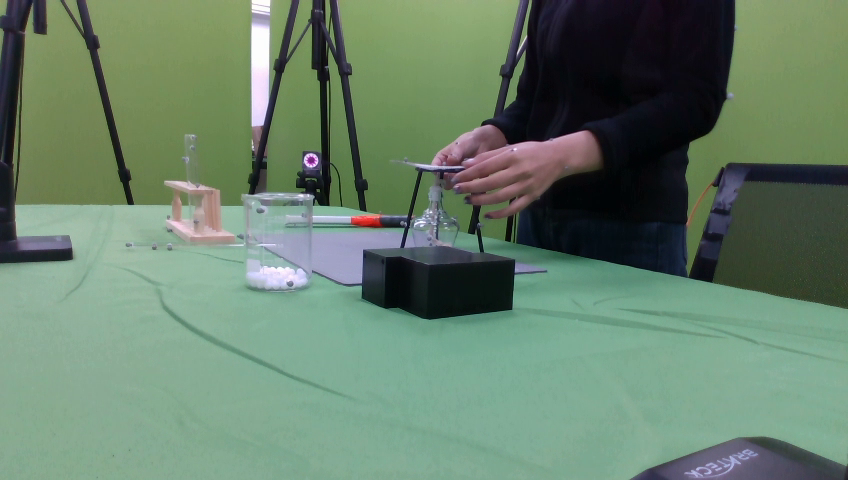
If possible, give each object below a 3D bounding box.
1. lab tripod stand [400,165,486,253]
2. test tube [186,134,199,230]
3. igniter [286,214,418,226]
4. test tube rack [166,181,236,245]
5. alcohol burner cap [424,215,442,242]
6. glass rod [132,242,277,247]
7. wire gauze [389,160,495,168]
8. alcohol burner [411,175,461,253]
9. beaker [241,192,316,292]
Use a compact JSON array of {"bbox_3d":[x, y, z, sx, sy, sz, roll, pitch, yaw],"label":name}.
[{"bbox_3d":[0.027,-0.049,0.930,0.148,0.131,0.148,2,9,0],"label":"lab tripod stand"},{"bbox_3d":[-0.360,-0.089,0.946,0.017,0.150,0.017,0,10,0],"label":"test tube"},{"bbox_3d":[-0.145,-0.043,1.263,0.278,0.025,0.057,-1,-2,-24],"label":"igniter"},{"bbox_3d":[-0.383,-0.051,1.024,0.067,0.085,0.241,-2,9,-31],"label":"test tube rack"},{"bbox_3d":[0.017,-0.022,1.098,0.034,0.048,0.034,2,8,0],"label":"alcohol burner cap"},{"bbox_3d":[-0.316,0.007,0.885,0.201,0.008,0.008,0,7,-27],"label":"glass rod"},{"bbox_3d":[0.028,-0.116,0.919,0.122,0.011,0.124,-4,10,-34],"label":"wire gauze"},{"bbox_3d":[0.018,-0.040,0.931,0.078,0.119,0.078,0,6,0],"label":"alcohol burner"},{"bbox_3d":[-0.157,0.000,0.642,0.084,0.100,0.074,4,7,19],"label":"beaker"}]
